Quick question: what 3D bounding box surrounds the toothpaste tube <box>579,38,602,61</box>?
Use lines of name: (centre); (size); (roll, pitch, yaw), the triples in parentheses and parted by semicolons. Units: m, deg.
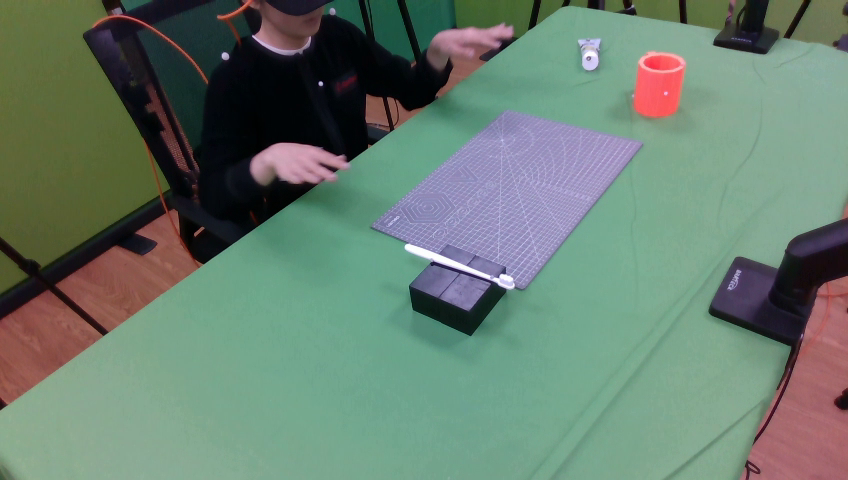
toothpaste tube: (0.398, -0.449, 1.433); (0.055, 0.034, 0.164); (6, 38, 8)

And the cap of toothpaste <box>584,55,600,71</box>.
cap of toothpaste: (0.381, -0.403, 1.372); (0.037, 0.037, 0.011); (1, 38, 10)

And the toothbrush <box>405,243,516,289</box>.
toothbrush: (0.048, 0.034, 0.859); (0.180, 0.017, 0.014); (19, 50, 28)

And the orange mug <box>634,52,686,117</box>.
orange mug: (0.469, -0.322, 1.219); (0.083, 0.101, 0.125); (-5, 45, 3)
